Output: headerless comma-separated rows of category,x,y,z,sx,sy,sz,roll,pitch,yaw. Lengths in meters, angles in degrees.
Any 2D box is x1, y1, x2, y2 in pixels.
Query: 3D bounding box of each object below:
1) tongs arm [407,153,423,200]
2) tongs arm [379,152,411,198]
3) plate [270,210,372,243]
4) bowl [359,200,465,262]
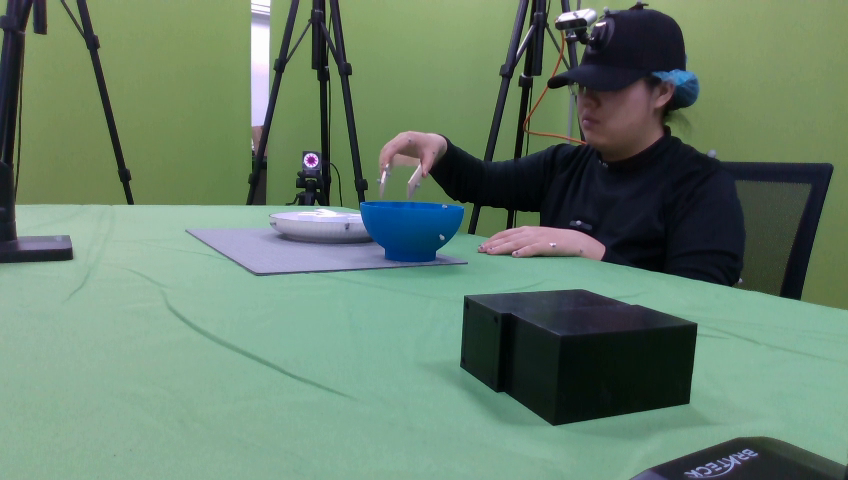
tongs arm,-0.019,-0.117,1.047,0.028,0.028,0.387,-1,14,2
tongs arm,-0.046,-0.119,1.047,0.051,0.026,0.384,2,15,-2
plate,-0.161,-0.023,1.055,0.208,0.039,0.207,2,7,0
bowl,-0.018,-0.013,0.859,0.151,0.077,0.151,2,7,0
